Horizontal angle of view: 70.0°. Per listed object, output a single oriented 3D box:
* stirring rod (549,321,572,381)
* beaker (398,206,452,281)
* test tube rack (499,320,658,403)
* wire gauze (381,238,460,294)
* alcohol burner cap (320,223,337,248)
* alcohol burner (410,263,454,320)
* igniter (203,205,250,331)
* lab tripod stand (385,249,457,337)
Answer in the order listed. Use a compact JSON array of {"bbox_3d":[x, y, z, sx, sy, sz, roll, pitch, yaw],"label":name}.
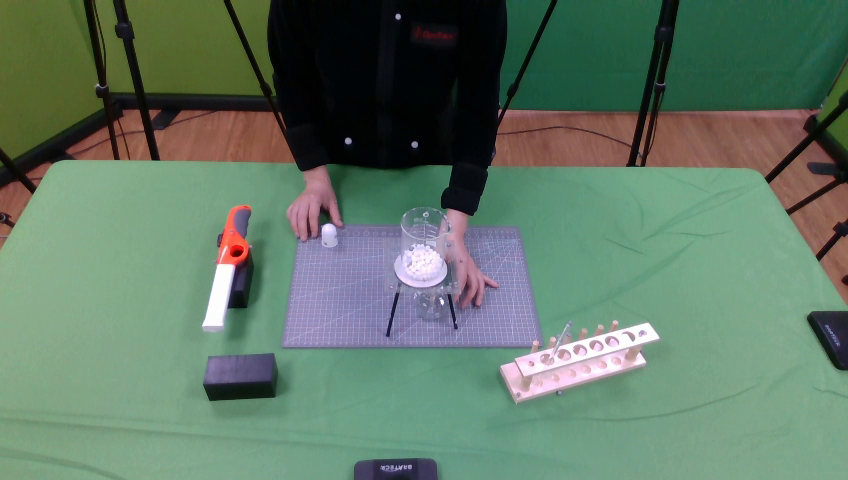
[{"bbox_3d":[0.202,0.168,0.901,0.006,0.177,0.014,-17,54,-11],"label":"stirring rod"},{"bbox_3d":[0.000,0.009,0.950,0.084,0.101,0.073,10,45,6],"label":"beaker"},{"bbox_3d":[0.252,0.187,0.994,0.243,0.085,0.066,-12,48,-15],"label":"test tube rack"},{"bbox_3d":[-0.008,0.042,0.985,0.125,0.011,0.120,-1,43,-2],"label":"wire gauze"},{"bbox_3d":[-0.188,-0.010,1.176,0.034,0.048,0.033,2,46,-1],"label":"alcohol burner cap"},{"bbox_3d":[0.014,0.084,1.051,0.078,0.120,0.077,1,46,0],"label":"alcohol burner"},{"bbox_3d":[-0.345,0.039,1.065,0.057,0.025,0.274,2,49,-6],"label":"igniter"},{"bbox_3d":[-0.010,0.087,1.032,0.148,0.132,0.147,1,45,-1],"label":"lab tripod stand"}]
